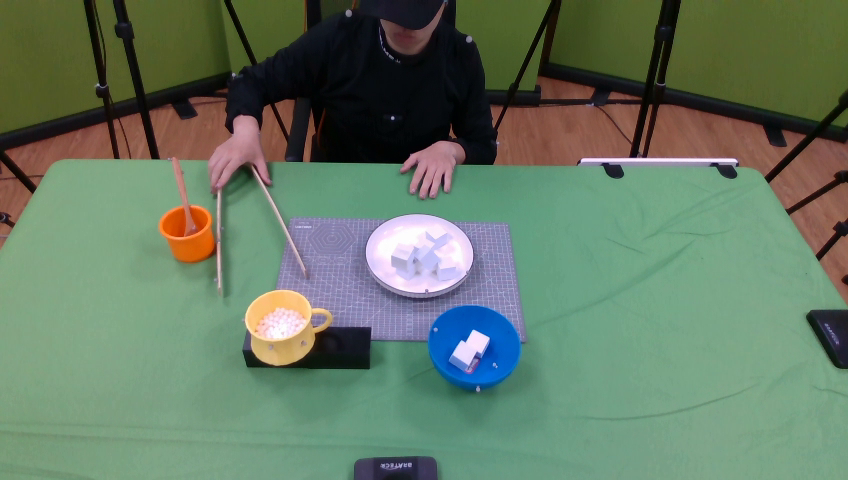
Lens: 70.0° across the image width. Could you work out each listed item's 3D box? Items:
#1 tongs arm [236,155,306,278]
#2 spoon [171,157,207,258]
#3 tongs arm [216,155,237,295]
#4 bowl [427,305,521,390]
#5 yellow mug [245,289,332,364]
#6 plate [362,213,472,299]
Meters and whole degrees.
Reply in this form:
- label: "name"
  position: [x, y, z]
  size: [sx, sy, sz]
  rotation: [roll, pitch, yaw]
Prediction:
- label: "tongs arm"
  position: [-0.311, -0.059, 1.224]
  size: [0.028, 0.028, 0.385]
  rotation: [-22, 50, -18]
- label: "spoon"
  position: [-0.444, -0.061, 1.133]
  size: [0.042, 0.194, 0.021]
  rotation: [-12, 4, -19]
- label: "tongs arm"
  position: [-0.388, -0.044, 1.201]
  size: [0.051, 0.026, 0.382]
  rotation: [-10, 46, -12]
- label: "bowl"
  position: [0.077, 0.188, 0.985]
  size: [0.151, 0.077, 0.150]
  rotation: [3, 46, -3]
- label: "yellow mug"
  position: [-0.210, 0.133, 0.954]
  size: [0.131, 0.064, 0.099]
  rotation: [-9, 48, -14]
- label: "plate"
  position: [-0.014, 0.034, 1.150]
  size: [0.208, 0.039, 0.206]
  rotation: [3, 46, -2]
